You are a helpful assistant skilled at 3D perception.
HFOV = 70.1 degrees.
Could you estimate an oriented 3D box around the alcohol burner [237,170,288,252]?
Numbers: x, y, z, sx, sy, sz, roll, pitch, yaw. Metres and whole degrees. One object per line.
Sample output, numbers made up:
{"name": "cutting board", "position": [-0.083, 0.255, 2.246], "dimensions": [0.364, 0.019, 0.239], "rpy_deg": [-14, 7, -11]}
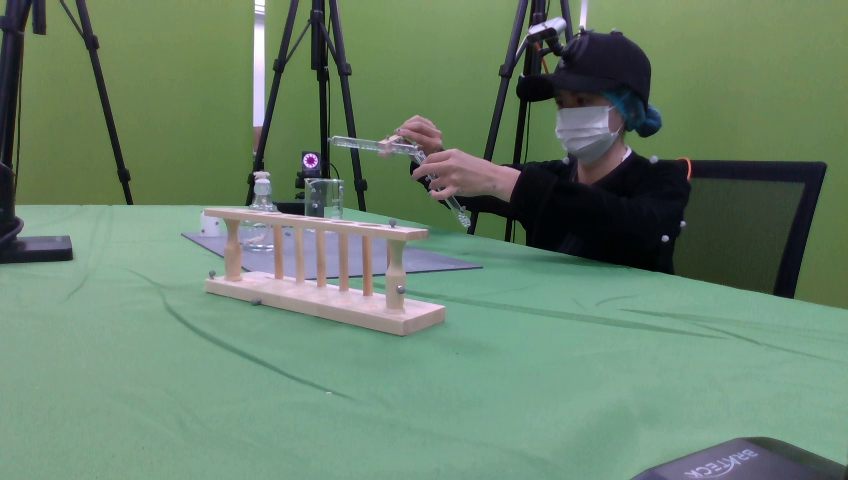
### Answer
{"name": "alcohol burner", "position": [-0.236, -0.042, 0.882], "dimensions": [0.078, 0.119, 0.078], "rpy_deg": [2, 9, 0]}

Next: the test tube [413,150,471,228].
{"name": "test tube", "position": [0.030, -0.083, 0.985], "dimensions": [0.017, 0.150, 0.017], "rpy_deg": [-35, 0, 0]}

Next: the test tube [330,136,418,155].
{"name": "test tube", "position": [-0.083, -0.156, 0.998], "dimensions": [0.150, 0.017, 0.017], "rpy_deg": [8, 8, 10]}

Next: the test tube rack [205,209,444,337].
{"name": "test tube rack", "position": [-0.100, 0.021, 0.565], "dimensions": [0.241, 0.085, 0.067], "rpy_deg": [7, 8, 32]}

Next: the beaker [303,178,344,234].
{"name": "beaker", "position": [-0.189, -0.063, 1.119], "dimensions": [0.073, 0.100, 0.084], "rpy_deg": [6, 9, 28]}

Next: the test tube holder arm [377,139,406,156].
{"name": "test tube holder arm", "position": [-0.054, -0.160, 1.015], "dimensions": [0.015, 0.010, 0.088], "rpy_deg": [14, 30, 18]}

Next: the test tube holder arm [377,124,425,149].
{"name": "test tube holder arm", "position": [-0.036, -0.182, 1.051], "dimensions": [0.015, 0.013, 0.179], "rpy_deg": [15, 26, 18]}

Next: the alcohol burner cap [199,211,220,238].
{"name": "alcohol burner cap", "position": [-0.356, -0.027, 1.002], "dimensions": [0.034, 0.048, 0.034], "rpy_deg": [2, 7, 0]}
